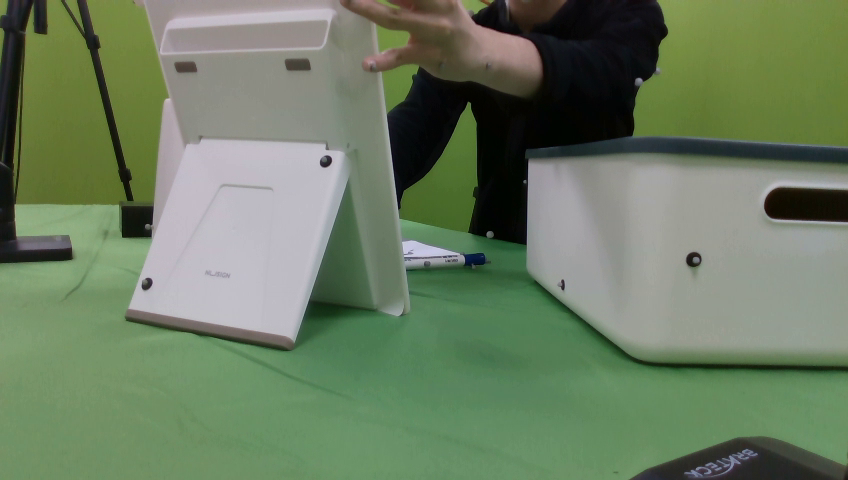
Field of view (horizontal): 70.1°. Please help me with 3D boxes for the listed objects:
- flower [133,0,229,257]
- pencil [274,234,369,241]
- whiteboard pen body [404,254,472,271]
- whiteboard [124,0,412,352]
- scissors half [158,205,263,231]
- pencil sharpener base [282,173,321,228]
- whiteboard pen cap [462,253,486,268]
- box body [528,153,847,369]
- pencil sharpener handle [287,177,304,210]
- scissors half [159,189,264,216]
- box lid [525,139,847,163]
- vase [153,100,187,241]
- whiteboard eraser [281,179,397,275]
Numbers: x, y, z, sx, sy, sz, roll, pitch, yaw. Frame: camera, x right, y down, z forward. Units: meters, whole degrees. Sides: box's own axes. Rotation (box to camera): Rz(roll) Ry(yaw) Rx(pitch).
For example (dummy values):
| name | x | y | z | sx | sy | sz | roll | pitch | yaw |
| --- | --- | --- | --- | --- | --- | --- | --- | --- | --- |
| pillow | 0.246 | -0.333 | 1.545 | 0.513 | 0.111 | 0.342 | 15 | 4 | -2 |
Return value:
| name | x | y | z | sx | sy | sz | roll | pitch | yaw |
| --- | --- | --- | --- | --- | --- | --- | --- | --- | --- |
| flower | -0.282 | -0.146 | 0.712 | 0.038 | 0.362 | 0.044 | -23 | 23 | -31 |
| pencil | -0.169 | -0.006 | 1.036 | 0.195 | 0.012 | 0.012 | -1 | 8 | -45 |
| whiteboard pen body | 0.013 | 0.029 | 0.792 | 0.141 | 0.017 | 0.017 | -5 | 10 | -24 |
| whiteboard | -0.151 | -0.049 | 0.471 | 0.216 | 0.305 | 0.144 | 6 | 27 | 24 |
| scissors half | -0.371 | -0.042 | 1.062 | 0.176 | 0.040 | 0.012 | 8 | 5 | -28 |
| pencil sharpener base | -0.247 | -0.080 | 1.212 | 0.061 | 0.107 | 0.076 | -2 | 5 | -28 |
| whiteboard pen cap | 0.066 | 0.028 | 0.818 | 0.033 | 0.018 | 0.018 | -9 | 11 | -22 |
| box body | 0.258 | -0.005 | 0.591 | 0.254 | 0.160 | 0.363 | 2 | 7 | -4 |
| pencil sharpener handle | -0.269 | -0.096 | 1.257 | 0.036 | 0.067 | 0.030 | -8 | 8 | -27 |
| scissors half | -0.370 | -0.062 | 1.059 | 0.176 | 0.040 | 0.013 | -11 | 9 | -26 |
| box lid | 0.261 | -0.078 | 0.580 | 0.264 | 0.015 | 0.371 | 2 | 7 | -4 |
| vase | -0.278 | -0.066 | 0.736 | 0.098 | 0.200 | 0.098 | 2 | 9 | 0 |
| whiteboard eraser | -0.083 | -0.009 | 0.567 | 0.112 | 0.055 | 0.042 | -28 | 15 | 34 |
